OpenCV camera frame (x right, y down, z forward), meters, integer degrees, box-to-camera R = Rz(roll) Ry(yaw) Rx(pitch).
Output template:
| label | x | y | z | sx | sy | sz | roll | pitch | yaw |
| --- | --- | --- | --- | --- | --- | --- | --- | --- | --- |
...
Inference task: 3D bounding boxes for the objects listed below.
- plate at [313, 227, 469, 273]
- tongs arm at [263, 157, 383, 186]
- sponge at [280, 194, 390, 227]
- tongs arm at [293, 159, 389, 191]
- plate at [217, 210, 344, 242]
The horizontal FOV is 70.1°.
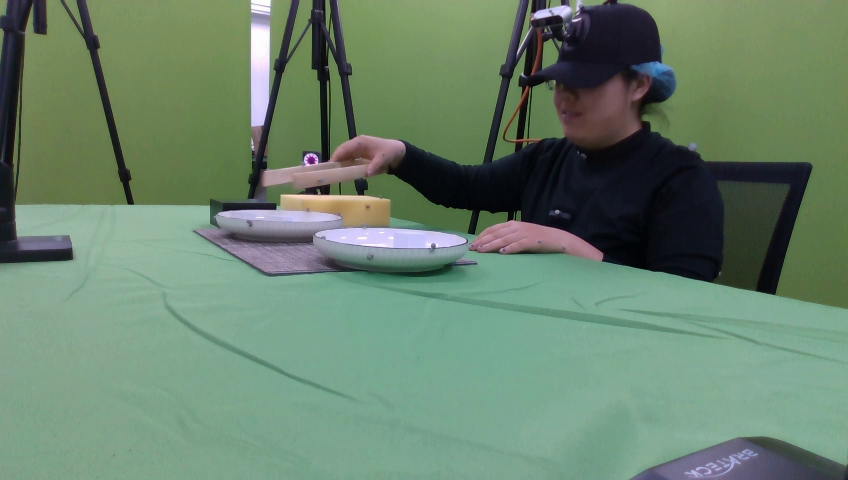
| label | x | y | z | sx | sy | sz | roll | pitch | yaw |
| --- | --- | --- | --- | --- | --- | --- | --- | --- | --- |
| plate | -0.044 | 0.012 | 0.807 | 0.209 | 0.038 | 0.209 | 2 | 7 | 0 |
| tongs arm | -0.168 | -0.128 | 1.110 | 0.050 | 0.026 | 0.386 | 8 | 13 | 16 |
| sponge | -0.188 | -0.063 | 1.291 | 0.208 | 0.061 | 0.117 | -2 | 9 | -35 |
| tongs arm | -0.137 | -0.122 | 1.099 | 0.028 | 0.028 | 0.388 | 5 | 12 | 18 |
| plate | -0.241 | -0.025 | 1.026 | 0.208 | 0.039 | 0.207 | 3 | 7 | 0 |
